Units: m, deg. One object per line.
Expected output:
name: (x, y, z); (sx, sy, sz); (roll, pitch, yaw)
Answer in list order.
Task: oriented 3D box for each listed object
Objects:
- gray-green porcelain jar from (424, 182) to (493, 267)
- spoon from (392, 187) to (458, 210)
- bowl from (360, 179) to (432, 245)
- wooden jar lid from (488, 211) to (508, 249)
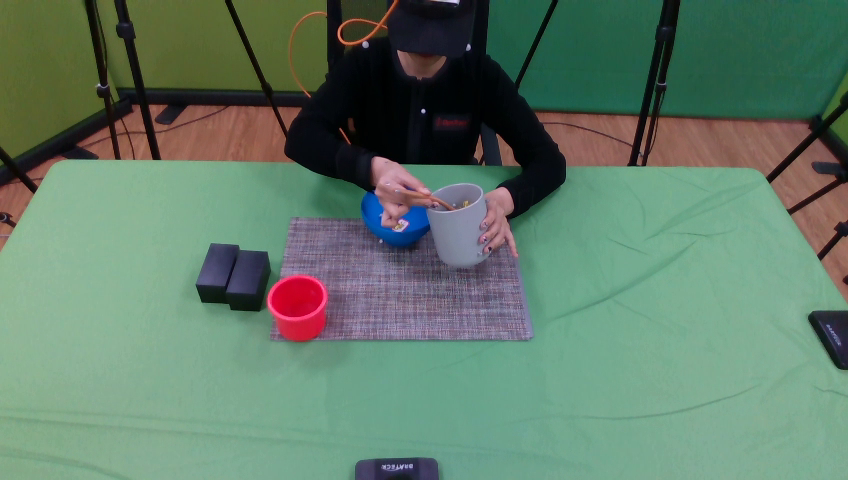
gray-green porcelain jar: (0.066, -0.024, 1.083); (0.106, 0.127, 0.105); (-11, 31, 7)
spoon: (0.022, -0.066, 1.042); (0.195, 0.021, 0.041); (18, 18, -39)
bowl: (-0.049, -0.042, 1.190); (0.151, 0.077, 0.150); (2, 46, -2)
wooden jar lid: (0.115, -0.018, 1.220); (0.108, 0.021, 0.107); (3, 47, -3)
